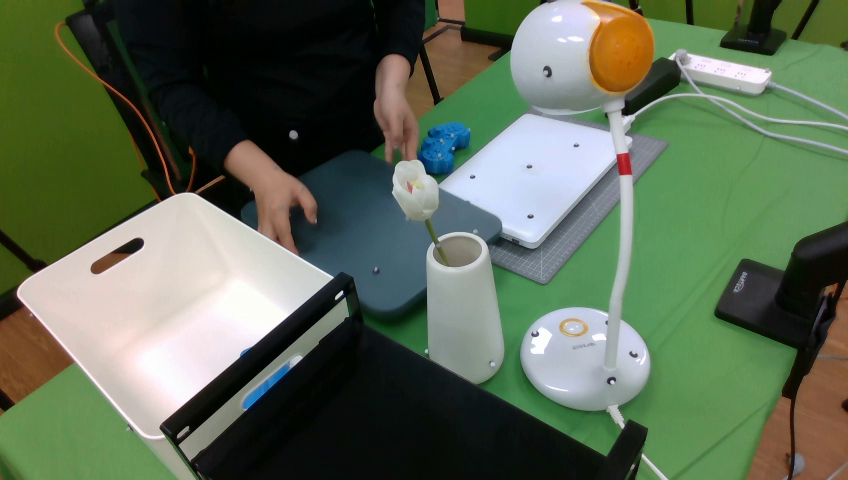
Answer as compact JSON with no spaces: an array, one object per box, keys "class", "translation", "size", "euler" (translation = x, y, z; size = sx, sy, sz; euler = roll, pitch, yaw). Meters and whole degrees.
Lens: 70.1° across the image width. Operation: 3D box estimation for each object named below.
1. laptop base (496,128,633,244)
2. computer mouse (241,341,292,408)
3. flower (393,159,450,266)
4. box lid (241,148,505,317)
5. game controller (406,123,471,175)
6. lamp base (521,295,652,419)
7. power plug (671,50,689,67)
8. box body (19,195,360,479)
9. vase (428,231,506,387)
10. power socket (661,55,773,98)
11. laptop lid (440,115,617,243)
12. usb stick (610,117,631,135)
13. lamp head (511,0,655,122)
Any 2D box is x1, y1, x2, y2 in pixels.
[{"class":"laptop base","translation":[0.193,-0.120,1.085],"size":[0.233,0.023,0.355],"euler":[19,46,36]},{"class":"computer mouse","translation":[-0.201,0.177,0.776],"size":[0.063,0.041,0.116],"euler":[-11,44,-8]},{"class":"flower","translation":[0.028,0.035,0.664],"size":[0.043,0.364,0.038],"euler":[35,73,29]},{"class":"box lid","translation":[-0.085,-0.032,0.944],"size":[0.368,0.015,0.264],"euler":[30,51,34]},{"class":"game controller","translation":[0.028,-0.182,1.169],"size":[0.096,0.052,0.155],"euler":[15,45,18]},{"class":"lamp base","translation":[0.201,0.095,0.710],"size":[0.161,0.181,0.178],"euler":[-16,43,-10]},{"class":"power plug","translation":[0.540,-0.379,1.302],"size":[0.073,0.053,0.035],"euler":[-31,46,-23]},{"class":"box body","translation":[-0.288,0.118,0.772],"size":[0.361,0.161,0.255],"euler":[26,50,33]},{"class":"vase","translation":[0.050,0.087,0.728],"size":[0.098,0.201,0.097],"euler":[-3,40,3]},{"class":"power socket","translation":[0.619,-0.353,1.289],"size":[0.225,0.033,0.072],"euler":[26,51,33]},{"class":"laptop lid","translation":[0.189,-0.126,1.081],"size":[0.239,0.013,0.358],"euler":[23,49,35]},{"class":"usb stick","translation":[0.369,-0.208,1.147],"size":[0.021,0.027,0.059],"euler":[26,56,33]},{"class":"lamp head","translation":[0.155,-0.168,0.563],"size":[0.113,0.113,0.122],"euler":[-18,23,-12]}]
